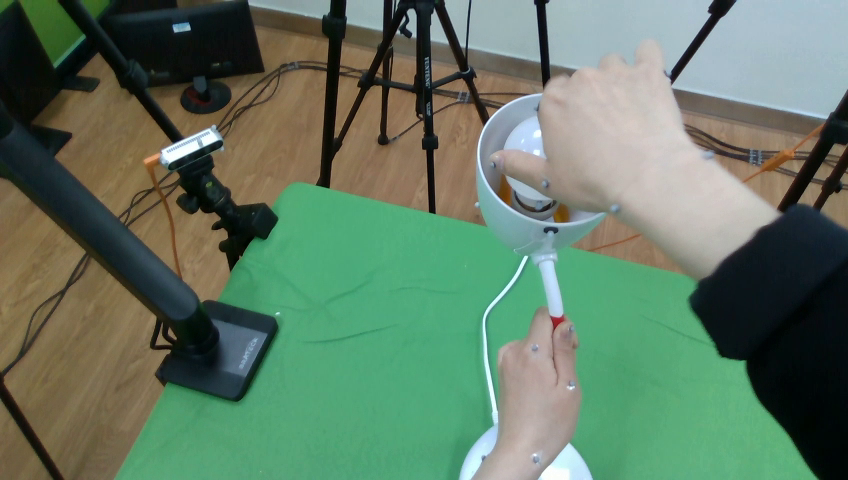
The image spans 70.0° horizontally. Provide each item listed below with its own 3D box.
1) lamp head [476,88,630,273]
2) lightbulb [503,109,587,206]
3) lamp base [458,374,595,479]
[{"bbox_3d":[0.093,-0.037,0.483,0.112,0.124,0.111,0,61,0],"label":"lamp head"},{"bbox_3d":[0.087,-0.055,0.459,0.059,0.108,0.059,0,69,0],"label":"lightbulb"},{"bbox_3d":[0.115,0.231,0.648,0.161,0.182,0.177,-21,56,-15],"label":"lamp base"}]
